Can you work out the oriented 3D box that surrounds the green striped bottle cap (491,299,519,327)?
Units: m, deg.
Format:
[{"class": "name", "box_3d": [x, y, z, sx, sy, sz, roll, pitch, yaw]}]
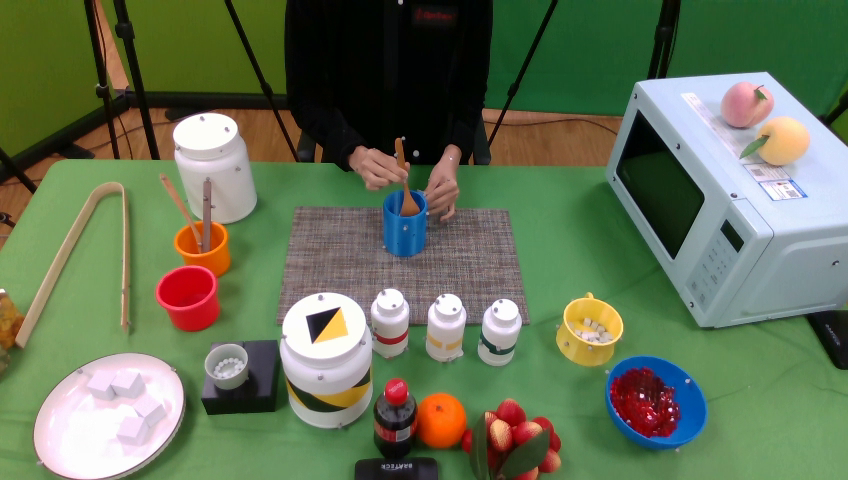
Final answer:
[{"class": "green striped bottle cap", "box_3d": [0.128, 0.115, 0.958, 0.044, 0.020, 0.044, 1, 47, -1]}]

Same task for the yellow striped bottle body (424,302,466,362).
[{"class": "yellow striped bottle body", "box_3d": [0.035, 0.143, 0.995, 0.063, 0.121, 0.062, 3, 46, -2]}]

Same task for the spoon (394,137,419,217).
[{"class": "spoon", "box_3d": [-0.038, -0.101, 1.088, 0.041, 0.195, 0.021, -8, 38, 0]}]

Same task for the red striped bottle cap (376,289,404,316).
[{"class": "red striped bottle cap", "box_3d": [-0.055, 0.098, 0.959, 0.044, 0.018, 0.044, 0, 48, 0]}]

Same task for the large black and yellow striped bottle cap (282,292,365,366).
[{"class": "large black and yellow striped bottle cap", "box_3d": [-0.139, 0.121, 0.841, 0.115, 0.019, 0.114, 3, 47, -3]}]

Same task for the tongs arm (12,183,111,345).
[{"class": "tongs arm", "box_3d": [-0.657, 0.027, 1.109, 0.028, 0.028, 0.385, -2, 45, 1]}]

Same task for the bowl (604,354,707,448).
[{"class": "bowl", "box_3d": [0.346, 0.261, 0.937, 0.151, 0.077, 0.150, 2, 46, -2]}]

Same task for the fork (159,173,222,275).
[{"class": "fork", "box_3d": [-0.427, -0.029, 1.103, 0.028, 0.018, 0.207, -31, 99, -31]}]

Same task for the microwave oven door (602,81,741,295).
[{"class": "microwave oven door", "box_3d": [0.456, -0.107, 1.162, 0.039, 0.245, 0.353, -6, 47, -11]}]

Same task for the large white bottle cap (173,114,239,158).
[{"class": "large white bottle cap", "box_3d": [-0.403, -0.195, 1.122, 0.115, 0.018, 0.114, 2, 47, -2]}]

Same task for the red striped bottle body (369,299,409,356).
[{"class": "red striped bottle body", "box_3d": [-0.058, 0.134, 0.997, 0.063, 0.120, 0.062, 4, 47, -4]}]

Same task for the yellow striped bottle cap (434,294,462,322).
[{"class": "yellow striped bottle cap", "box_3d": [0.037, 0.107, 0.958, 0.044, 0.019, 0.044, 2, 45, -2]}]

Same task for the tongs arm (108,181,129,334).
[{"class": "tongs arm", "box_3d": [-0.571, 0.019, 1.123, 0.051, 0.026, 0.382, -10, 47, -12]}]

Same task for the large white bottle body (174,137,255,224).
[{"class": "large white bottle body", "box_3d": [-0.408, -0.136, 1.183, 0.131, 0.185, 0.130, 2, 46, -2]}]

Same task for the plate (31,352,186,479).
[{"class": "plate", "box_3d": [-0.459, 0.262, 0.898, 0.209, 0.038, 0.208, 2, 46, -2]}]

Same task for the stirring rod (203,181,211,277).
[{"class": "stirring rod", "box_3d": [-0.396, -0.021, 1.107, 0.014, 0.006, 0.176, -1, 89, -1]}]

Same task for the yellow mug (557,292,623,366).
[{"class": "yellow mug", "box_3d": [0.285, 0.145, 1.051, 0.100, 0.064, 0.130, 7, 45, 4]}]

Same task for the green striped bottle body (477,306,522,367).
[{"class": "green striped bottle body", "box_3d": [0.124, 0.151, 0.995, 0.063, 0.120, 0.063, 2, 46, -2]}]

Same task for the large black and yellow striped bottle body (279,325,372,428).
[{"class": "large black and yellow striped bottle body", "box_3d": [-0.143, 0.181, 0.900, 0.131, 0.185, 0.130, 2, 46, -2]}]

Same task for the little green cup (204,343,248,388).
[{"class": "little green cup", "box_3d": [-0.294, 0.190, 0.909, 0.061, 0.039, 0.061, 1, 48, 0]}]

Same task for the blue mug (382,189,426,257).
[{"class": "blue mug", "box_3d": [-0.031, -0.042, 1.174, 0.082, 0.106, 0.116, 26, 50, 20]}]

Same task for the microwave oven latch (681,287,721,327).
[{"class": "microwave oven latch", "box_3d": [0.494, 0.119, 1.087, 0.030, 0.029, 0.078, -6, 46, -9]}]

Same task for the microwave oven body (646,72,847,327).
[{"class": "microwave oven body", "box_3d": [0.607, -0.089, 1.164, 0.326, 0.261, 0.438, -7, 46, -10]}]
